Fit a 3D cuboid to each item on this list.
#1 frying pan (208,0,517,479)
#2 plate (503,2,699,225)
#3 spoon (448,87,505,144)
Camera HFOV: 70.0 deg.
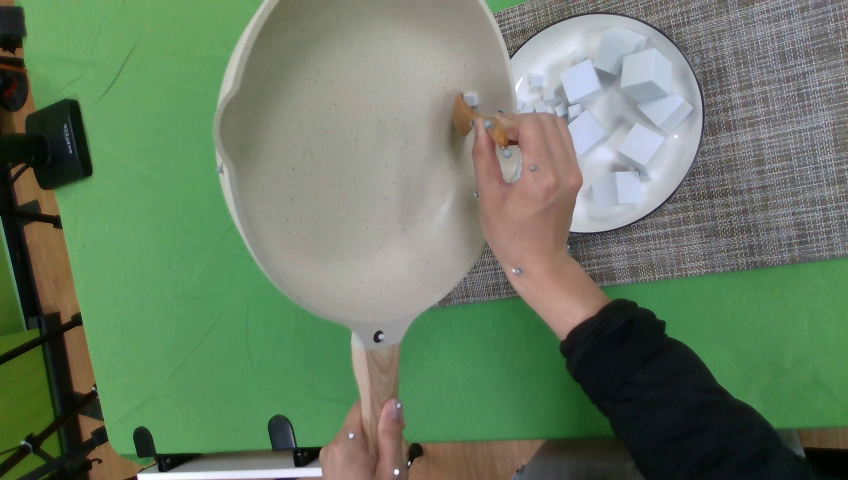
[{"bbox_3d":[-0.041,0.022,0.499,0.102,0.309,0.488,4,96,45],"label":"frying pan"},{"bbox_3d":[0.157,-0.119,0.593,0.206,0.039,0.208,3,99,24],"label":"plate"},{"bbox_3d":[0.042,-0.100,0.489,0.021,0.192,0.042,-11,108,-6],"label":"spoon"}]
